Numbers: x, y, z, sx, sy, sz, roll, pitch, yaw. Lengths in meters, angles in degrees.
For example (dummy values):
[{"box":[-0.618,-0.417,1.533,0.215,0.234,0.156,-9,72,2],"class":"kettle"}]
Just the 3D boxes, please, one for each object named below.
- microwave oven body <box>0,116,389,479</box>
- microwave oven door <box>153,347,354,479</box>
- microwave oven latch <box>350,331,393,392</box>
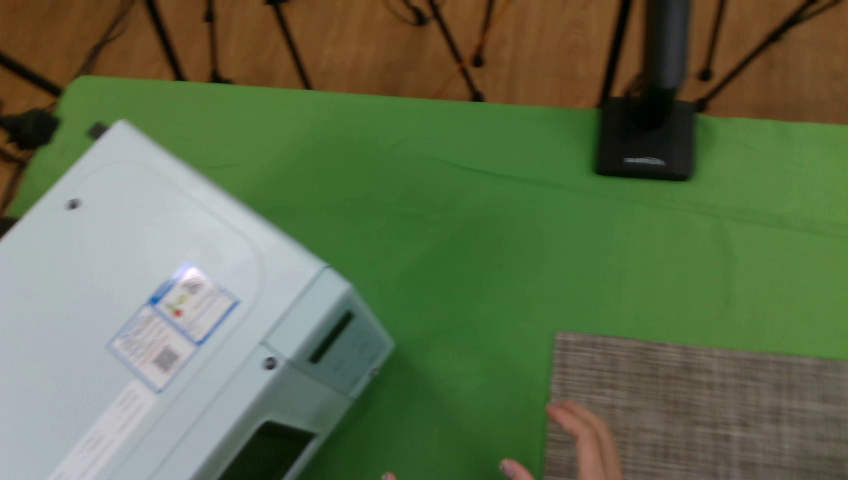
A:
[{"box":[-0.302,0.160,0.608,0.324,0.262,0.441,33,77,17],"class":"microwave oven body"},{"box":[-0.210,0.266,0.551,0.039,0.246,0.355,32,76,18],"class":"microwave oven door"},{"box":[-0.068,0.134,0.694,0.030,0.030,0.079,35,77,18],"class":"microwave oven latch"}]
